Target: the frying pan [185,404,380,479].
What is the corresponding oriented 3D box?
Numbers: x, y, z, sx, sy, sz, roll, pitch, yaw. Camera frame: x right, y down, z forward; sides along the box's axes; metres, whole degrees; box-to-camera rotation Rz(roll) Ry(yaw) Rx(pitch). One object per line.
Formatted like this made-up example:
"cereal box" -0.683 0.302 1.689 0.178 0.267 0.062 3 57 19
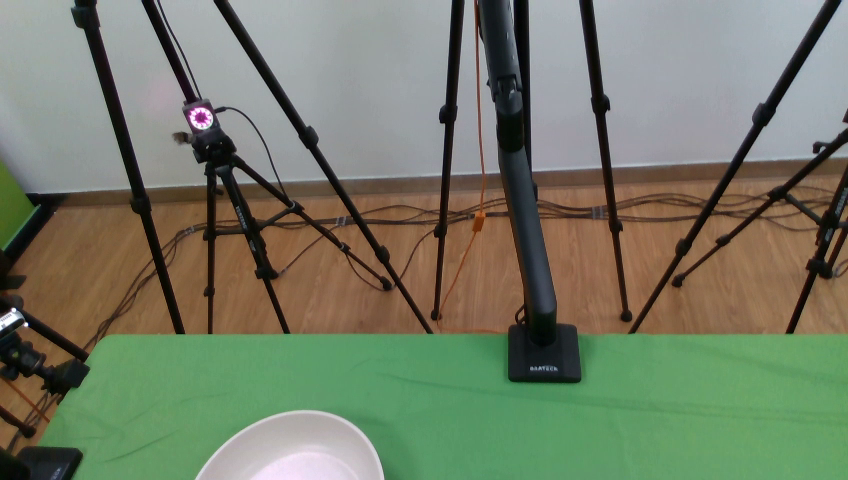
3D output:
"frying pan" -0.214 0.441 0.789 0.306 0.104 0.484 -2 36 10
